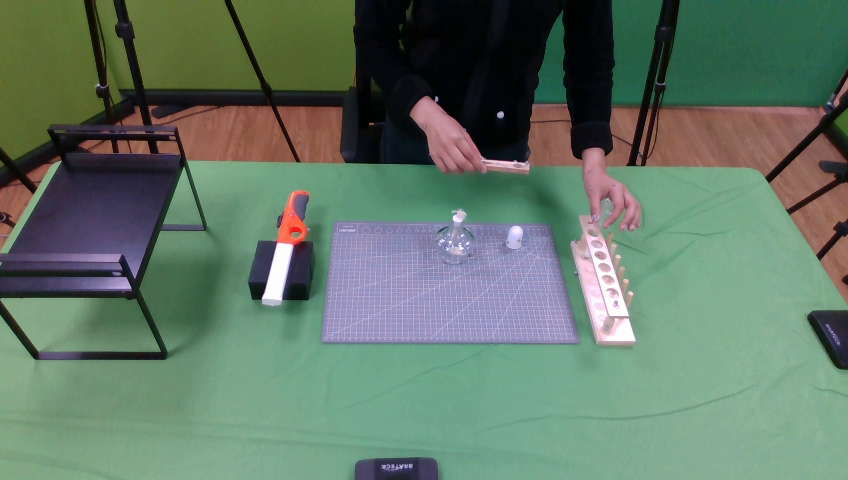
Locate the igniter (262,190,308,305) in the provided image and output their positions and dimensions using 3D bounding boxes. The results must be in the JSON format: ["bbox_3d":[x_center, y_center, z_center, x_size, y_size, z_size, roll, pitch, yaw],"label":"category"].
[{"bbox_3d":[-0.252,0.004,1.107,0.057,0.025,0.275,7,47,-6],"label":"igniter"}]

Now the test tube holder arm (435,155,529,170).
[{"bbox_3d":[0.109,-0.147,1.151,0.178,0.015,0.013,7,55,9],"label":"test tube holder arm"}]

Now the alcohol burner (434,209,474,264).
[{"bbox_3d":[0.058,-0.012,1.147,0.078,0.119,0.077,3,44,-3],"label":"alcohol burner"}]

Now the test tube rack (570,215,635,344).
[{"bbox_3d":[0.334,0.067,1.116,0.067,0.085,0.241,1,46,-3],"label":"test tube rack"}]

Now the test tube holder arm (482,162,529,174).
[{"bbox_3d":[0.153,-0.137,1.141,0.088,0.015,0.010,7,55,9],"label":"test tube holder arm"}]

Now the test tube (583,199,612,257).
[{"bbox_3d":[0.321,-0.019,1.129,0.017,0.151,0.017,2,49,-3],"label":"test tube"}]

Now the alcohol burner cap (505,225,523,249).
[{"bbox_3d":[0.180,-0.009,1.203,0.034,0.048,0.033,2,47,-2],"label":"alcohol burner cap"}]
